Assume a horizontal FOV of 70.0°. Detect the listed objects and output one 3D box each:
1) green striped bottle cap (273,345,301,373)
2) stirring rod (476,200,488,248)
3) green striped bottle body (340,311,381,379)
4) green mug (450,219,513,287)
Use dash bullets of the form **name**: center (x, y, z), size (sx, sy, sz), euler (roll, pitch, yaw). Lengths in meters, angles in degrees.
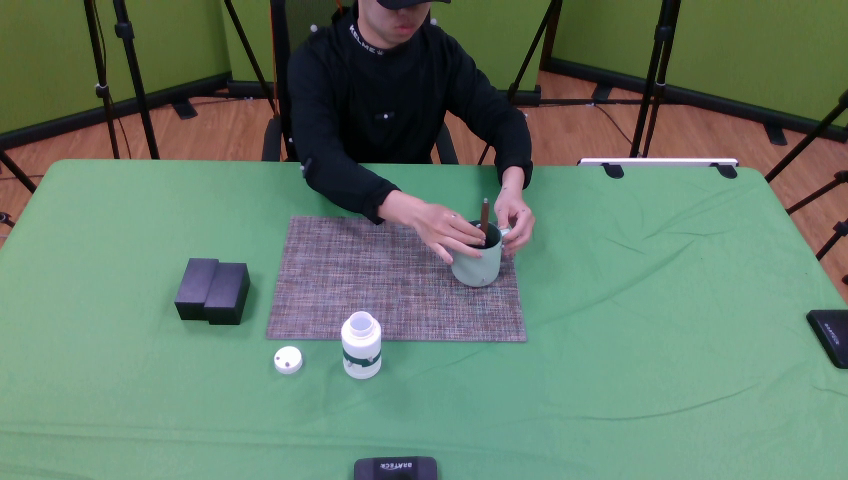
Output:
- **green striped bottle cap**: center (-0.225, 0.195, 0.997), size (0.044, 0.020, 0.044), euler (2, 50, -3)
- **stirring rod**: center (0.100, 0.005, 1.079), size (0.014, 0.177, 0.006), euler (0, 35, -2)
- **green striped bottle body**: center (-0.101, 0.164, 0.964), size (0.063, 0.120, 0.063), euler (2, 46, -2)
- **green mug**: center (0.111, 0.019, 1.125), size (0.125, 0.105, 0.092), euler (-22, 52, -24)
